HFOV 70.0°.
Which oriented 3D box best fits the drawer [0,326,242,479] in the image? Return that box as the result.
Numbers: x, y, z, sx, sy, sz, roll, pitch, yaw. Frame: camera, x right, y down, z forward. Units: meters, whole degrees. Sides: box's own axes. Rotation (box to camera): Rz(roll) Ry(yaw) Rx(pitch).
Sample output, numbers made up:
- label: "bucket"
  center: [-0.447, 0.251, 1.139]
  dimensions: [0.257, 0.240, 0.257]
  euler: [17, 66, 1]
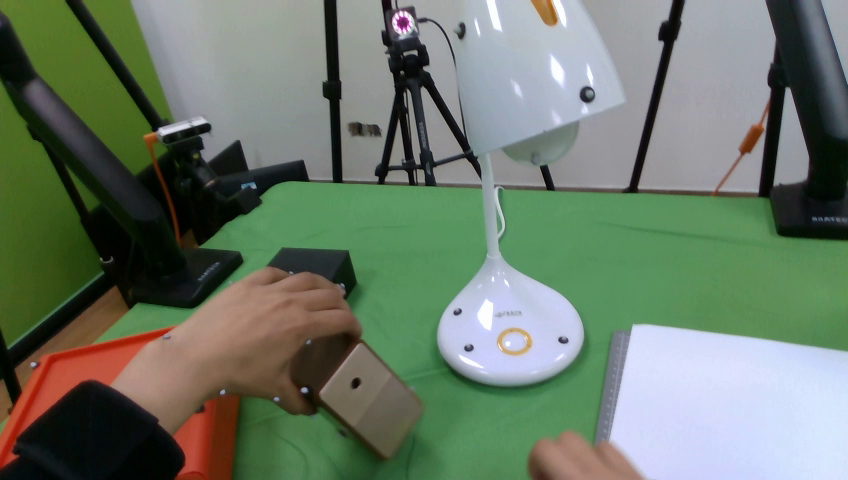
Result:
- label: "drawer"
  center: [-0.284, 0.185, 0.575]
  dimensions: [0.195, 0.074, 0.209]
  euler: [-13, 30, -5]

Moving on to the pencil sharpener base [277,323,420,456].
- label: "pencil sharpener base"
  center: [-0.067, 0.132, 0.542]
  dimensions: [0.076, 0.108, 0.061]
  euler: [9, 54, 49]

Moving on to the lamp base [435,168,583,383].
- label: "lamp base"
  center: [0.079, 0.027, 0.636]
  dimensions: [0.161, 0.182, 0.177]
  euler: [-12, 29, -5]

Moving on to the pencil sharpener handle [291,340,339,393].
- label: "pencil sharpener handle"
  center: [-0.107, 0.120, 0.574]
  dimensions: [0.030, 0.068, 0.036]
  euler: [9, 50, 49]

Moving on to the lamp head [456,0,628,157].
- label: "lamp head"
  center: [0.070, -0.130, 0.426]
  dimensions: [0.112, 0.123, 0.112]
  euler: [-21, 2, 1]

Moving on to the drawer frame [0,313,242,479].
- label: "drawer frame"
  center: [-0.287, 0.182, 0.576]
  dimensions: [0.202, 0.083, 0.211]
  euler: [-14, 31, -5]

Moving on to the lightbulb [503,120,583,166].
- label: "lightbulb"
  center: [0.077, -0.105, 0.423]
  dimensions: [0.059, 0.108, 0.059]
  euler: [-9, 7, 2]
